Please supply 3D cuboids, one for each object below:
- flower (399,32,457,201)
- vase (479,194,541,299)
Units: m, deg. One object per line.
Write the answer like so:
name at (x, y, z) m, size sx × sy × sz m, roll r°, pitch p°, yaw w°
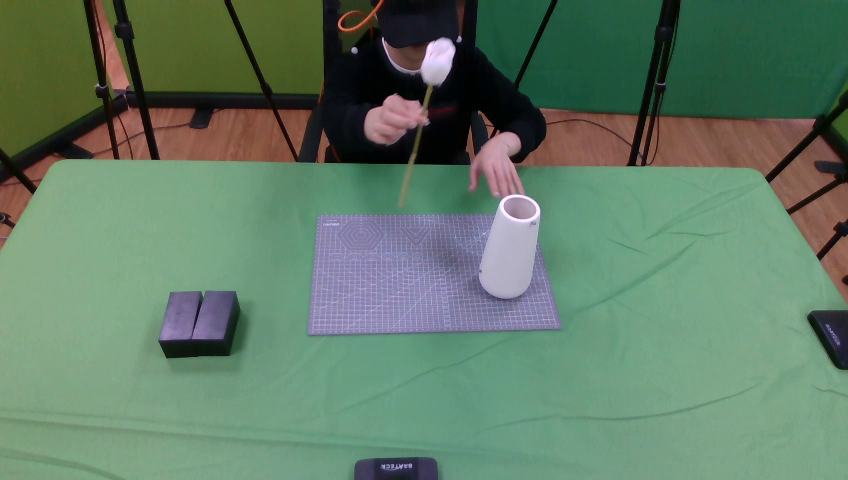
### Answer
flower at (-0.007, -0.162, 0.914) m, size 0.038 × 0.363 × 0.044 m, roll 20°, pitch 58°, yaw 0°
vase at (0.152, 0.015, 1.066) m, size 0.098 × 0.201 × 0.097 m, roll 1°, pitch 47°, yaw -1°
